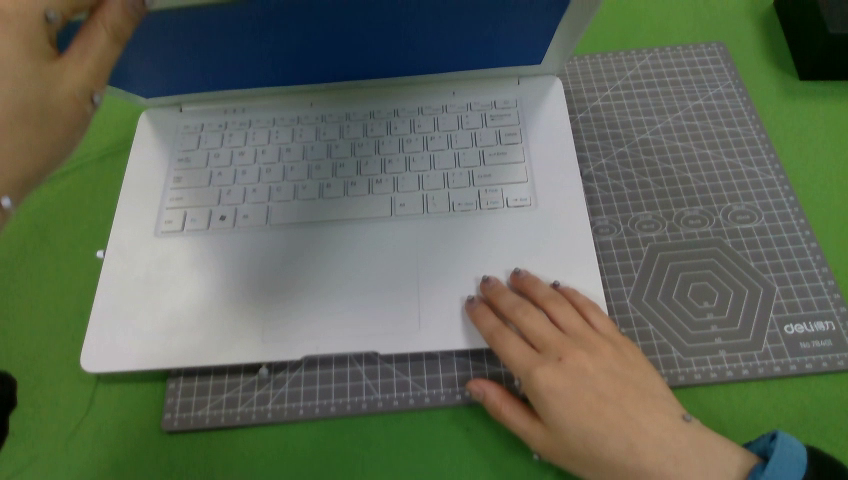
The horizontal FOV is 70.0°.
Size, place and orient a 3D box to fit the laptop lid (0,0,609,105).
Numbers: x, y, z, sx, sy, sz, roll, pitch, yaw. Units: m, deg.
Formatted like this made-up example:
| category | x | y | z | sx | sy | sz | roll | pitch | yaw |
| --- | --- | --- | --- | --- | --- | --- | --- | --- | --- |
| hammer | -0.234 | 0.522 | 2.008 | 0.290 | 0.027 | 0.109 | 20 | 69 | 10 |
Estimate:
| category | x | y | z | sx | sy | sz | roll | pitch | yaw |
| --- | --- | --- | --- | --- | --- | --- | --- | --- | --- |
| laptop lid | -0.069 | -0.126 | 0.392 | 0.356 | 0.241 | 0.013 | -4 | 92 | 4 |

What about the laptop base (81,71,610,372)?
| category | x | y | z | sx | sy | sz | roll | pitch | yaw |
| --- | --- | --- | --- | --- | --- | --- | --- | --- | --- |
| laptop base | -0.059 | -0.023 | 0.455 | 0.354 | 0.023 | 0.233 | -4 | 63 | 2 |
